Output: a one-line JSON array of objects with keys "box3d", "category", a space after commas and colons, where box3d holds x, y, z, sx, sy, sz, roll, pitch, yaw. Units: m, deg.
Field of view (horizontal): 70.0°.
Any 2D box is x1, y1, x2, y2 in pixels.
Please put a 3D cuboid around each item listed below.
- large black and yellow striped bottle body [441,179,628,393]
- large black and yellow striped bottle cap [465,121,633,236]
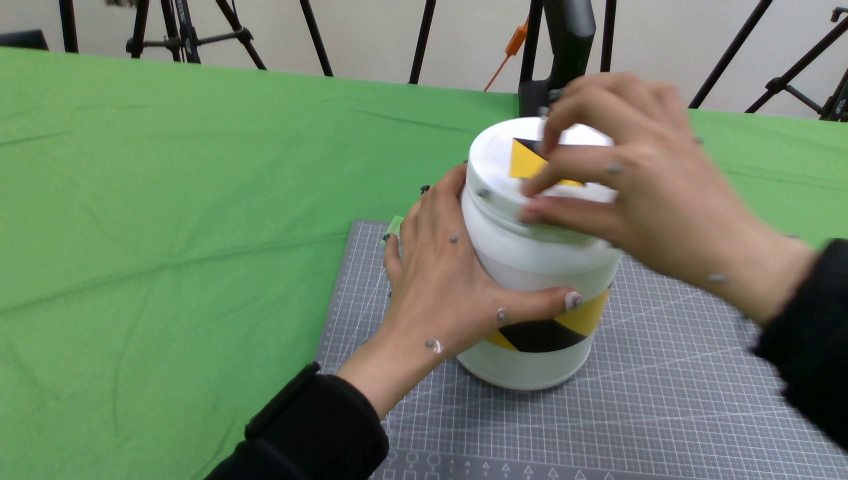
[{"box3d": [0.083, 0.017, 0.478, 0.131, 0.185, 0.129, 2, 42, -1], "category": "large black and yellow striped bottle body"}, {"box3d": [0.086, -0.047, 0.422, 0.115, 0.019, 0.114, 1, 41, -1], "category": "large black and yellow striped bottle cap"}]
